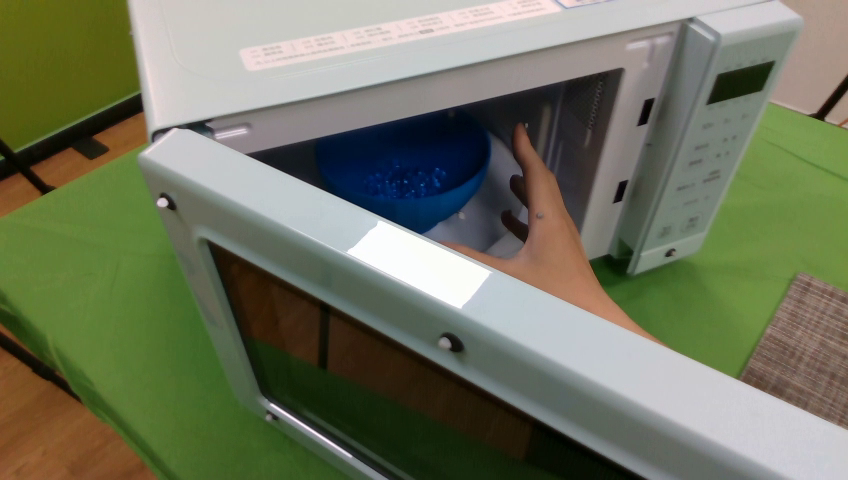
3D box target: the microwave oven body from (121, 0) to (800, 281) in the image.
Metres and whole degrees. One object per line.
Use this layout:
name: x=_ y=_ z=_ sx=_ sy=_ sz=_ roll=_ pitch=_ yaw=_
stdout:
microwave oven body: x=0.004 y=-0.117 z=0.550 sx=0.442 sy=0.262 sz=0.322 roll=-18 pitch=48 yaw=-16

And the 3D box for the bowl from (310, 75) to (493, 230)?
bowl: x=-0.018 y=-0.062 z=0.528 sx=0.151 sy=0.077 sz=0.150 roll=0 pitch=58 yaw=0

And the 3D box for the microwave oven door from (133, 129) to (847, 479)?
microwave oven door: x=0.008 y=0.097 z=0.330 sx=0.353 sy=0.246 sz=0.039 roll=24 pitch=50 yaw=22

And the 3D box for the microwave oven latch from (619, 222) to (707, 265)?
microwave oven latch: x=0.226 y=-0.003 z=0.575 sx=0.079 sy=0.030 sz=0.030 roll=-16 pitch=48 yaw=-15
